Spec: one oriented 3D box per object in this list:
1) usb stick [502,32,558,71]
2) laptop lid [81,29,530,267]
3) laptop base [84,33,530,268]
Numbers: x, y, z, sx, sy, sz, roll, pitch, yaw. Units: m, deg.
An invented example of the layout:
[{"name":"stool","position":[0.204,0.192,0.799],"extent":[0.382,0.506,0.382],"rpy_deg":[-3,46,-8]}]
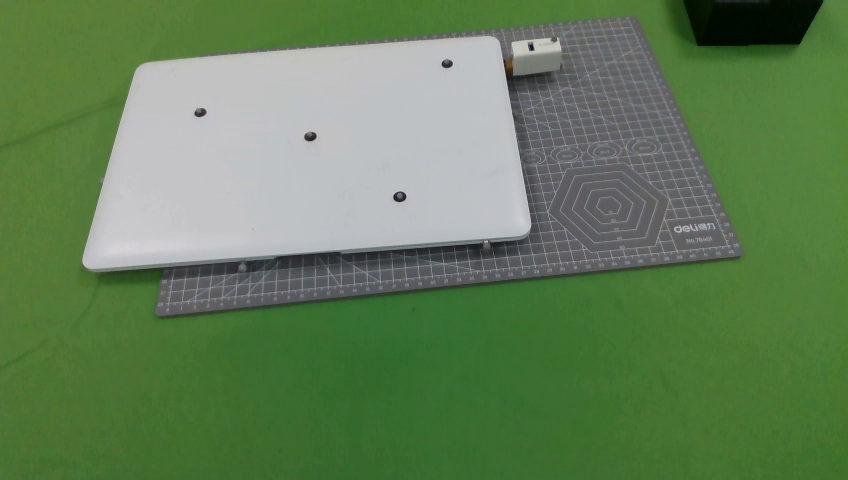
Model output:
[{"name":"usb stick","position":[0.095,-0.176,0.567],"extent":[0.059,0.027,0.021],"rpy_deg":[-7,58,5]},{"name":"laptop lid","position":[-0.099,-0.091,0.524],"extent":[0.357,0.013,0.239],"rpy_deg":[-3,59,1]},{"name":"laptop base","position":[-0.098,-0.086,0.535],"extent":[0.354,0.023,0.233],"rpy_deg":[-4,60,0]}]
